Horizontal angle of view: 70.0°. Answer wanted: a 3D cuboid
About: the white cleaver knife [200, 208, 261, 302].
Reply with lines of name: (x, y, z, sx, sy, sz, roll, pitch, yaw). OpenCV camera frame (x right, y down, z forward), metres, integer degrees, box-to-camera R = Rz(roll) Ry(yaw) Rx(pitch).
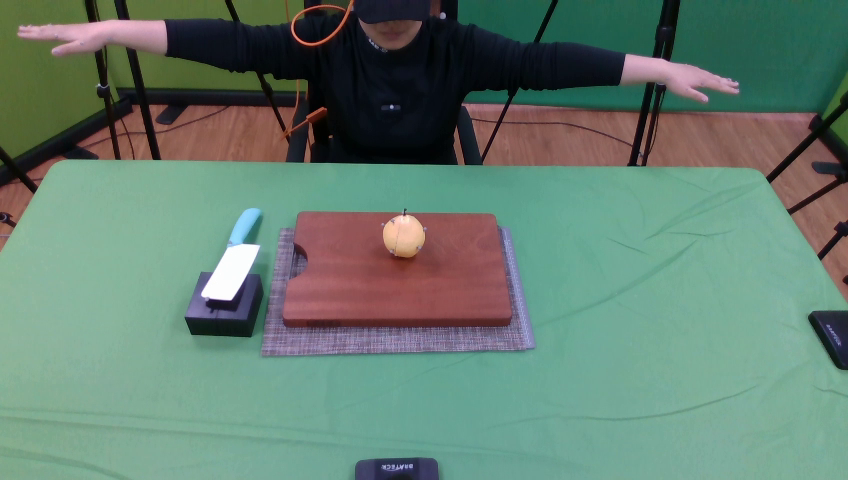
white cleaver knife: (-0.338, 0.024, 1.116, 0.066, 0.021, 0.285, 6, 35, -3)

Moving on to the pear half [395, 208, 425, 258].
pear half: (-0.025, -0.018, 1.113, 0.056, 0.110, 0.076, 0, 50, -3)

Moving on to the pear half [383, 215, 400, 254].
pear half: (-0.061, -0.013, 1.119, 0.031, 0.088, 0.070, 0, 54, -4)
